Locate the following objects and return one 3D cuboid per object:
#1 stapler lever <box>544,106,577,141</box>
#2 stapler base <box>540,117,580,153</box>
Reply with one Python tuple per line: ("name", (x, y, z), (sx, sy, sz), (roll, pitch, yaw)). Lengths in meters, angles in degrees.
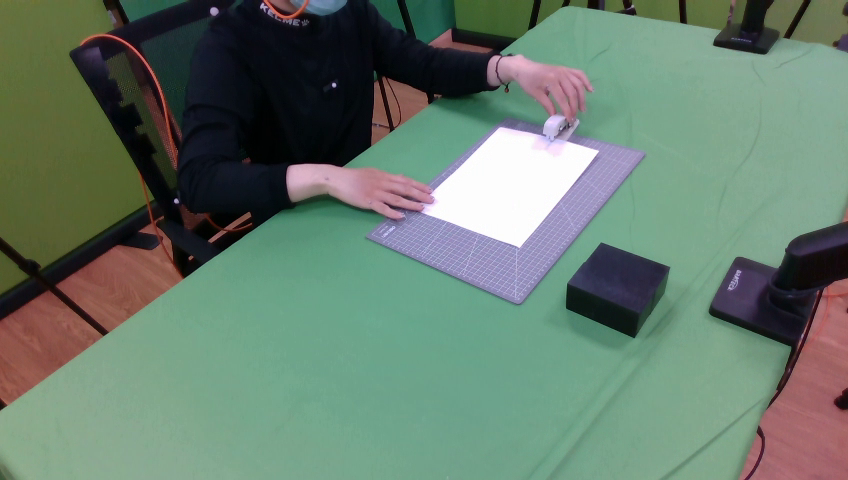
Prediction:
("stapler lever", (0.262, -0.232, 1.160), (0.026, 0.040, 0.118), (18, 46, 24))
("stapler base", (0.265, -0.213, 1.174), (0.041, 0.024, 0.131), (18, 45, 24))
